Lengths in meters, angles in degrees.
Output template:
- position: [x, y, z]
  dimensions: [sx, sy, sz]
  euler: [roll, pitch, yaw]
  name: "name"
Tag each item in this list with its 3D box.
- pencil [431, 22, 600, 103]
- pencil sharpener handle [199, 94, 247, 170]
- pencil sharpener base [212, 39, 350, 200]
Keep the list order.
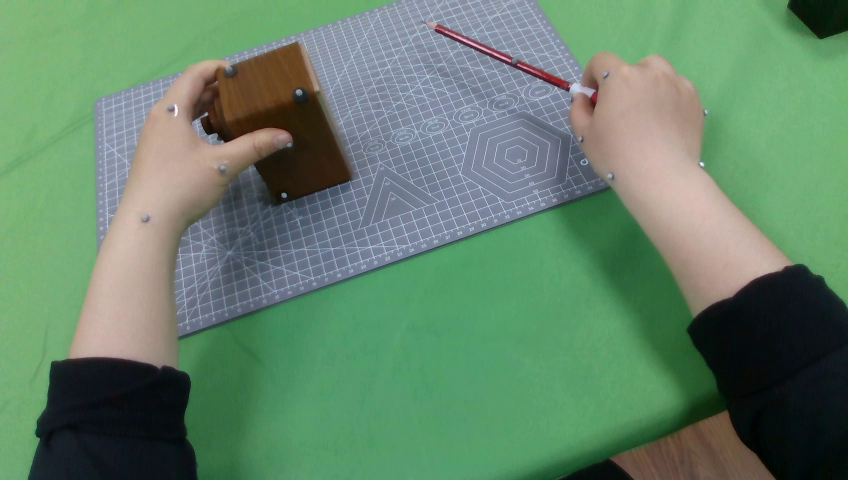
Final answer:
- position: [0.071, -0.158, 0.523]
  dimensions: [0.012, 0.012, 0.192]
  euler: [-43, 55, -16]
  name: "pencil"
- position: [-0.162, -0.080, 0.471]
  dimensions: [0.030, 0.068, 0.035]
  euler: [-21, 59, -2]
  name: "pencil sharpener handle"
- position: [-0.112, -0.091, 0.484]
  dimensions: [0.077, 0.108, 0.060]
  euler: [-21, 59, -2]
  name: "pencil sharpener base"
